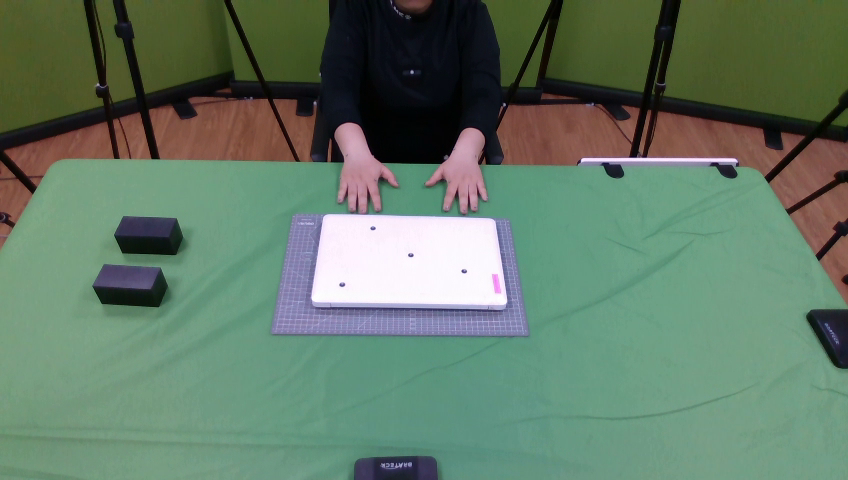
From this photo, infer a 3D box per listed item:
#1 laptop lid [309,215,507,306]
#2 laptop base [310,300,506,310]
[{"bbox_3d":[-0.028,0.032,1.149,0.357,0.013,0.240,3,44,-2],"label":"laptop lid"},{"bbox_3d":[-0.029,0.042,1.156,0.354,0.023,0.234,1,42,-3],"label":"laptop base"}]
